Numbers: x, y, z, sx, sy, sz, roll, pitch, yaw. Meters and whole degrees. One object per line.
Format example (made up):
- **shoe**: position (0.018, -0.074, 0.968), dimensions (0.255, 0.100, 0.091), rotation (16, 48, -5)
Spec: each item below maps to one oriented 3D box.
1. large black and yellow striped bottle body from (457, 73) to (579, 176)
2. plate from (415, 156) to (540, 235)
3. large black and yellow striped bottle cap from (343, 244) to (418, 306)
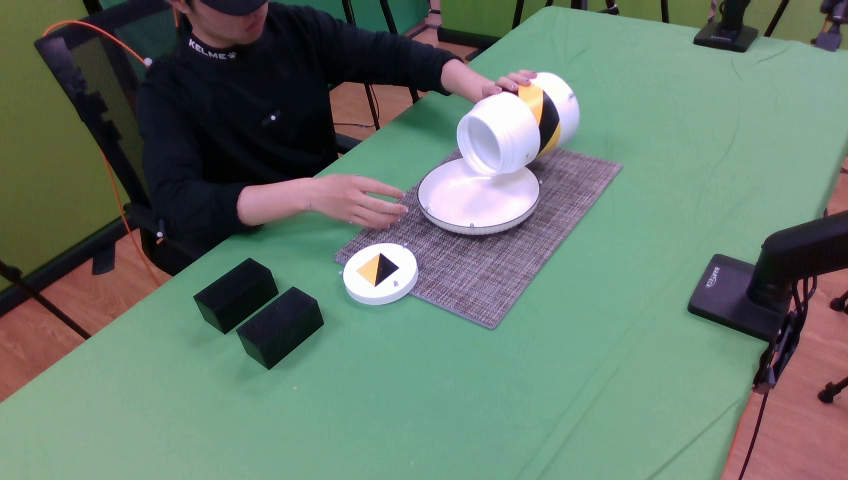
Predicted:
- **large black and yellow striped bottle body**: position (0.158, -0.193, 1.025), dimensions (0.185, 0.131, 0.129), rotation (-31, 46, -28)
- **plate**: position (0.090, -0.074, 1.025), dimensions (0.207, 0.039, 0.206), rotation (-4, 41, 4)
- **large black and yellow striped bottle cap**: position (-0.066, 0.051, 0.918), dimensions (0.115, 0.019, 0.114), rotation (-6, 43, 6)
